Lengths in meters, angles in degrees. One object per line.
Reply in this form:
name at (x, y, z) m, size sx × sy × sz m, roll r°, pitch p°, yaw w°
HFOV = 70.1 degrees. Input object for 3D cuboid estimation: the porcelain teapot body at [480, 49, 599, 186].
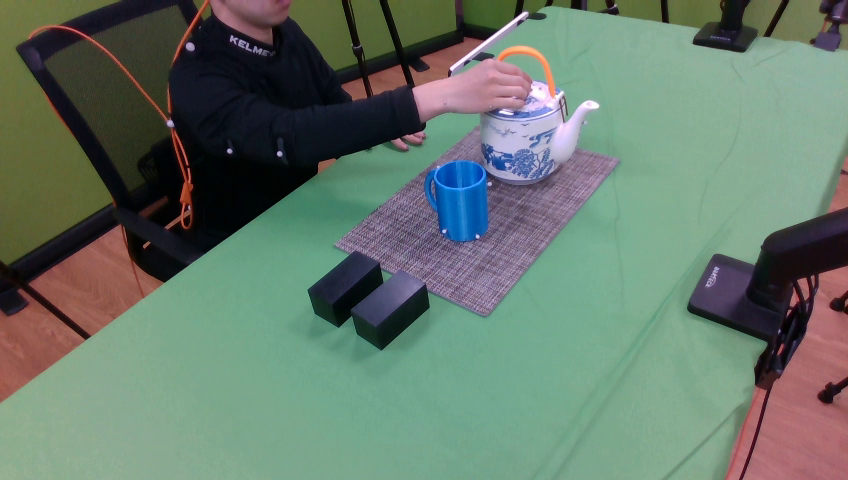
porcelain teapot body at (0.193, -0.208, 1.023) m, size 0.204 × 0.226 × 0.145 m, roll 17°, pitch 46°, yaw 25°

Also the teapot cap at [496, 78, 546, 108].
teapot cap at (0.162, -0.246, 1.009) m, size 0.085 × 0.044 × 0.084 m, roll -2°, pitch 43°, yaw 2°

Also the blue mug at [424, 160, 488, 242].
blue mug at (0.047, -0.067, 0.971) m, size 0.115 × 0.106 × 0.082 m, roll 22°, pitch 49°, yaw 30°
